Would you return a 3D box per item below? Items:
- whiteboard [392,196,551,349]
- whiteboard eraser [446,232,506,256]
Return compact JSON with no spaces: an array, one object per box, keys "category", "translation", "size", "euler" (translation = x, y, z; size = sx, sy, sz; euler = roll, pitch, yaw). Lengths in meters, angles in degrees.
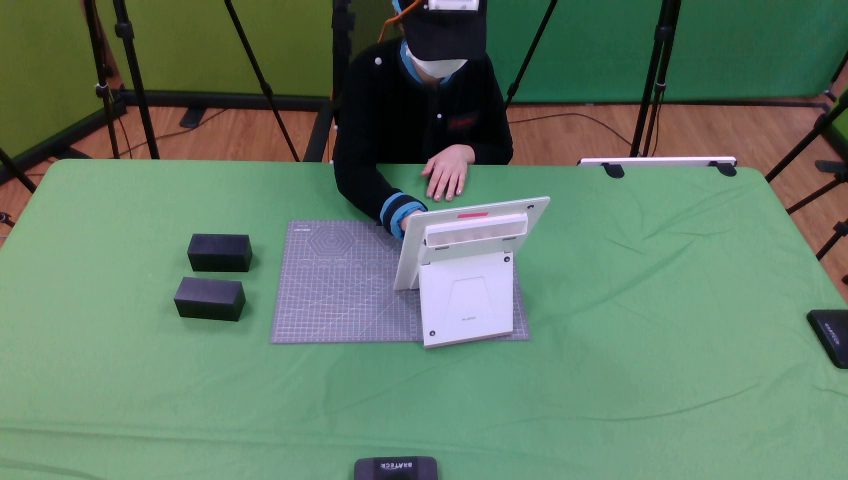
[{"category":"whiteboard","translation":[0.077,0.071,0.977],"size":[0.217,0.306,0.143],"euler":[-7,67,-11]},{"category":"whiteboard eraser","translation":[0.088,0.007,1.031],"size":[0.101,0.041,0.018],"euler":[-12,65,8]}]
